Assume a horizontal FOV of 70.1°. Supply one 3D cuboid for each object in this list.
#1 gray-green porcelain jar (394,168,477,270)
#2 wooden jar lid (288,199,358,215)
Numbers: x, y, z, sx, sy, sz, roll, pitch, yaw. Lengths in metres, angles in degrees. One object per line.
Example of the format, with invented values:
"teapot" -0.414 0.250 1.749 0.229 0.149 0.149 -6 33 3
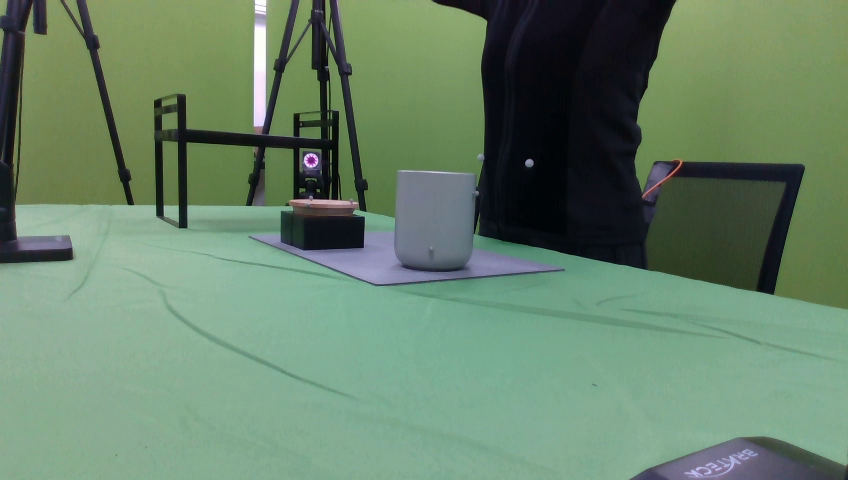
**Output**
"gray-green porcelain jar" 0.014 -0.029 0.793 0.106 0.126 0.106 2 7 0
"wooden jar lid" -0.158 -0.052 0.950 0.108 0.020 0.108 3 8 0
